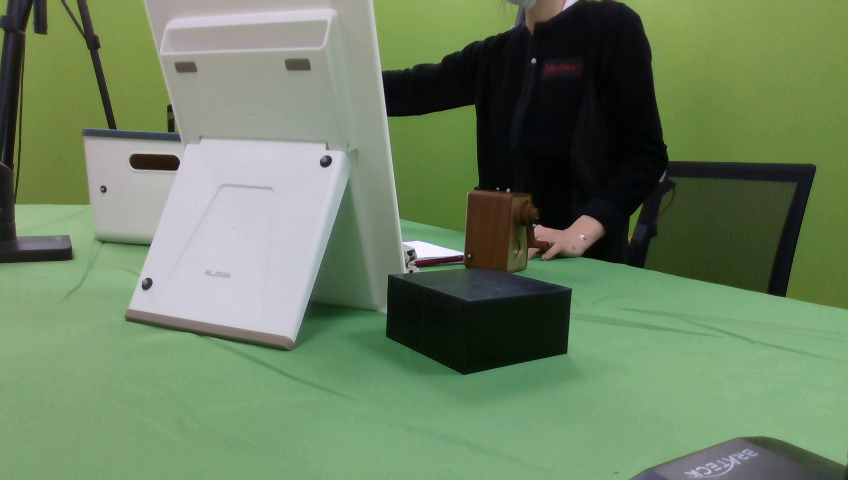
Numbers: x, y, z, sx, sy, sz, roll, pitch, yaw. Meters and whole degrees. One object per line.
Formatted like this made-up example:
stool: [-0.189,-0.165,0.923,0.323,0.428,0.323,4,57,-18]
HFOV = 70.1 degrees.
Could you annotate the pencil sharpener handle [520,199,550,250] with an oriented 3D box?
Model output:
pencil sharpener handle: [0.147,-0.019,0.785,0.030,0.068,0.036,8,26,36]

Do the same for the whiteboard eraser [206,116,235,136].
whiteboard eraser: [-0.450,-0.252,1.335,0.056,0.042,0.112,1,7,-22]

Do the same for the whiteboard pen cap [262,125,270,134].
whiteboard pen cap: [-0.349,-0.244,1.336,0.018,0.018,0.033,0,2,-17]

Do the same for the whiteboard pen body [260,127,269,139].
whiteboard pen body: [-0.366,-0.247,1.392,0.017,0.017,0.140,0,3,-17]

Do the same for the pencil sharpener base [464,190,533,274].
pencil sharpener base: [0.102,-0.012,0.812,0.076,0.107,0.061,8,9,36]

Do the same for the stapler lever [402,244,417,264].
stapler lever: [-0.066,0.003,0.755,0.117,0.040,0.027,9,13,23]

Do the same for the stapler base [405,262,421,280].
stapler base: [-0.069,0.027,0.759,0.130,0.024,0.041,9,13,23]

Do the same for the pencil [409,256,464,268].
pencil: [0.041,0.028,0.849,0.012,0.012,0.195,10,10,43]

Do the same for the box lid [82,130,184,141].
box lid: [-0.337,-0.161,1.011,0.263,0.015,0.372,4,7,11]

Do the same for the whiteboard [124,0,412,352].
whiteboard: [-0.151,-0.049,0.472,0.216,0.305,0.144,6,27,24]

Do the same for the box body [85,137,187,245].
box body: [-0.340,-0.088,1.022,0.254,0.160,0.364,4,7,11]
